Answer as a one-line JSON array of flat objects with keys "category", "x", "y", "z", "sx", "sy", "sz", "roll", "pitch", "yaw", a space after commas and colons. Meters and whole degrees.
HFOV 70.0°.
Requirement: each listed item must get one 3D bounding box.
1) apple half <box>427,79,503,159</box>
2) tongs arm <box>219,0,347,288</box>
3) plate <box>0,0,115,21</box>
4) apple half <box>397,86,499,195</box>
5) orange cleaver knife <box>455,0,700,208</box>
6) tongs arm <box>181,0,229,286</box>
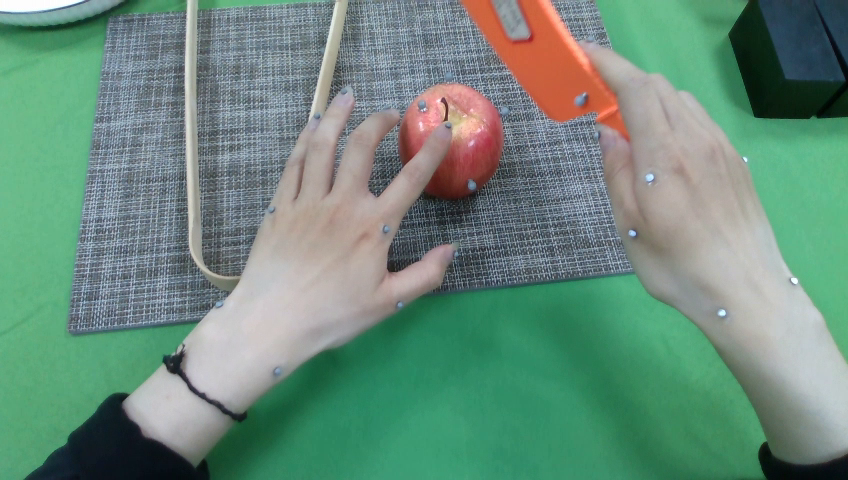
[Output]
[{"category": "apple half", "x": 0.035, "y": -0.093, "z": 0.465, "sx": 0.081, "sy": 0.082, "sz": 0.033, "roll": 39, "pitch": 72, "yaw": 16}, {"category": "tongs arm", "x": -0.102, "y": -0.141, "z": 0.507, "sx": 0.051, "sy": 0.027, "sz": 0.382, "roll": 5, "pitch": 65, "yaw": -1}, {"category": "plate", "x": -0.341, "y": -0.277, "z": 0.562, "sx": 0.209, "sy": 0.038, "sz": 0.207, "roll": 1, "pitch": 64, "yaw": -2}, {"category": "apple half", "x": 0.010, "y": -0.066, "z": 0.453, "sx": 0.080, "sy": 0.075, "sz": 0.053, "roll": 41, "pitch": 72, "yaw": 13}, {"category": "orange cleaver knife", "x": 0.081, "y": -0.097, "z": 0.359, "sx": 0.012, "sy": 0.077, "sz": 0.212, "roll": -45, "pitch": 99, "yaw": -17}, {"category": "tongs arm", "x": -0.187, "y": -0.140, "z": 0.506, "sx": 0.028, "sy": 0.028, "sz": 0.384, "roll": -7, "pitch": 65, "yaw": -10}]
